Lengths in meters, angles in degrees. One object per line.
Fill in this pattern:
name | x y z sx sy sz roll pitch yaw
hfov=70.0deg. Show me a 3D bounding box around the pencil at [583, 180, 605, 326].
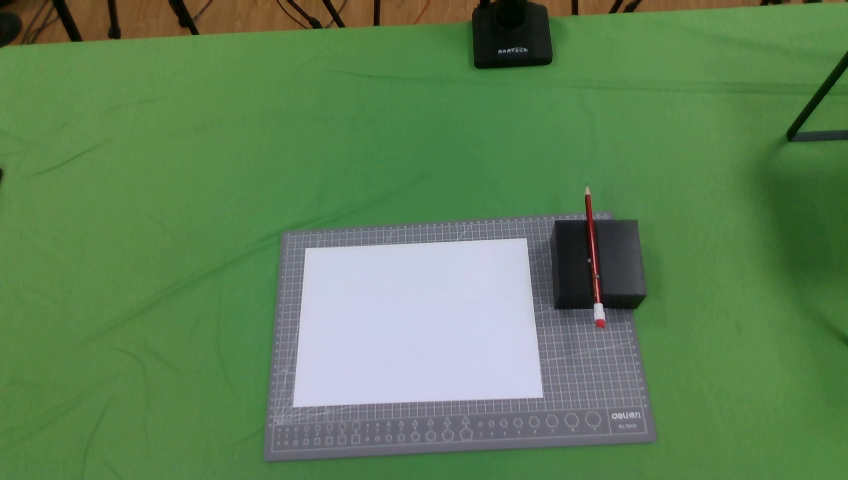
pencil | 0.203 0.011 0.730 0.012 0.012 0.192 -1 65 4
